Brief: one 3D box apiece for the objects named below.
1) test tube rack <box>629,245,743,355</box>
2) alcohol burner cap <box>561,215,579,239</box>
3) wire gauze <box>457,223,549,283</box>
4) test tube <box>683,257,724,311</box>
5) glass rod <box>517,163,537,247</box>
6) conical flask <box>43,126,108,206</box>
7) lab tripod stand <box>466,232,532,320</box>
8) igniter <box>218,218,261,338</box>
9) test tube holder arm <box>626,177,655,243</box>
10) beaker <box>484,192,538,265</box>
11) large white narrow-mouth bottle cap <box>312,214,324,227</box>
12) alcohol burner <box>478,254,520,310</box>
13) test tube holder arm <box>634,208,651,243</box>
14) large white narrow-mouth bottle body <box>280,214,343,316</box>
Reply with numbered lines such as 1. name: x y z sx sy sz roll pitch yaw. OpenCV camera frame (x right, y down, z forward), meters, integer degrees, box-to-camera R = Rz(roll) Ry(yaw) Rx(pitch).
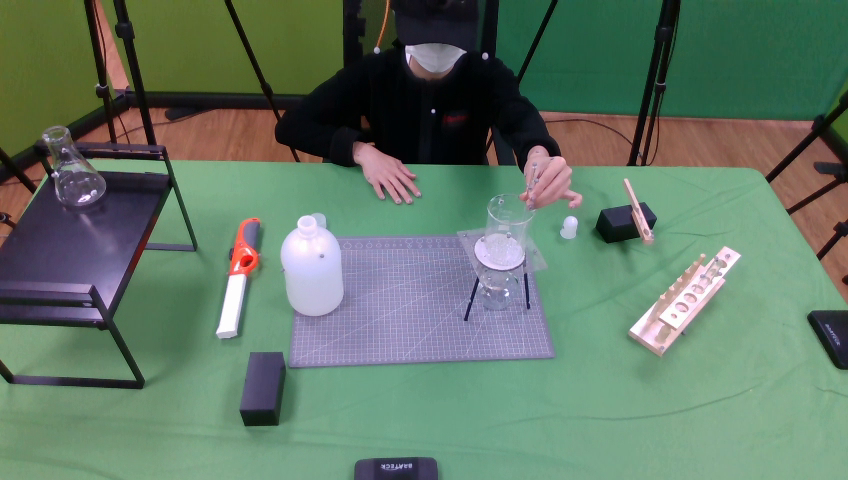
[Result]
1. test tube rack: 0.474 0.095 1.091 0.242 0.085 0.066 -34 56 -31
2. alcohol burner cap: 0.299 -0.030 1.231 0.034 0.048 0.033 0 46 0
3. wire gauze: 0.131 0.016 1.017 0.121 0.011 0.124 -10 44 -15
4. test tube: 0.476 0.080 1.037 0.017 0.151 0.017 1 50 -2
5. glass rod: 0.158 -0.049 0.934 0.008 0.201 0.008 0 54 0
6. conical flask: -0.555 -0.119 0.953 0.075 0.122 0.075 2 46 -2
7. lab tripod stand: 0.125 0.059 1.065 0.148 0.132 0.147 1 45 0
8. igniter: -0.336 0.060 1.111 0.057 0.025 0.274 -8 46 4
9. test tube holder arm: 0.434 -0.063 1.220 0.013 0.015 0.177 3 47 -4
10. beaker: 0.137 -0.016 0.980 0.084 0.101 0.073 -7 45 -9
11. large white narrow-mouth bottle cap: -0.219 -0.033 1.214 0.038 0.024 0.037 2 46 -2
12. alcohol burner: 0.134 0.068 1.071 0.078 0.120 0.077 0 47 0
13. test tube holder arm: 0.428 -0.030 1.189 0.010 0.015 0.087 3 47 -3
14. large white narrow-mouth bottle body: -0.190 0.035 1.025 0.102 0.195 0.101 2 46 -2
